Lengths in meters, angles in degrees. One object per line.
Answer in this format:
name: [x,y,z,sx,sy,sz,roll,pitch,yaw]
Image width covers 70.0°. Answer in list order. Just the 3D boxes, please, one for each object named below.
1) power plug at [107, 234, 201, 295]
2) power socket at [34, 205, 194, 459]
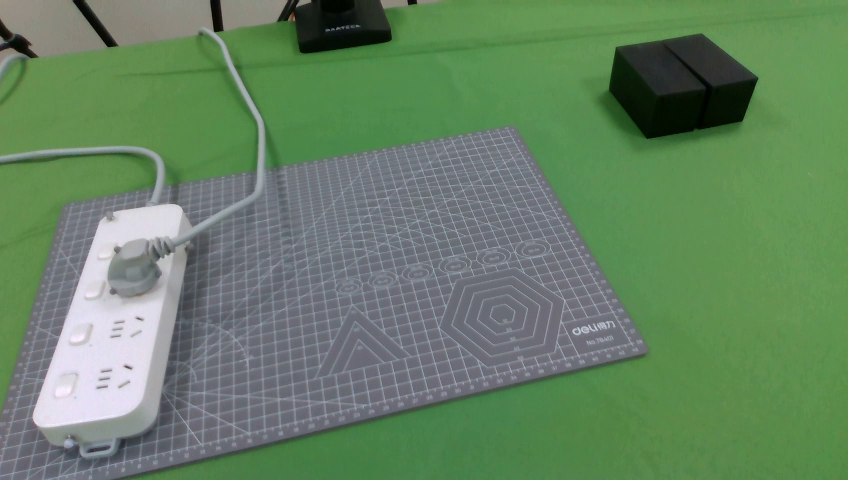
power plug: [-0.199,0.025,0.452,0.072,0.053,0.035,-1,45,4]
power socket: [-0.225,0.053,0.460,0.072,0.033,0.224,-6,44,-5]
